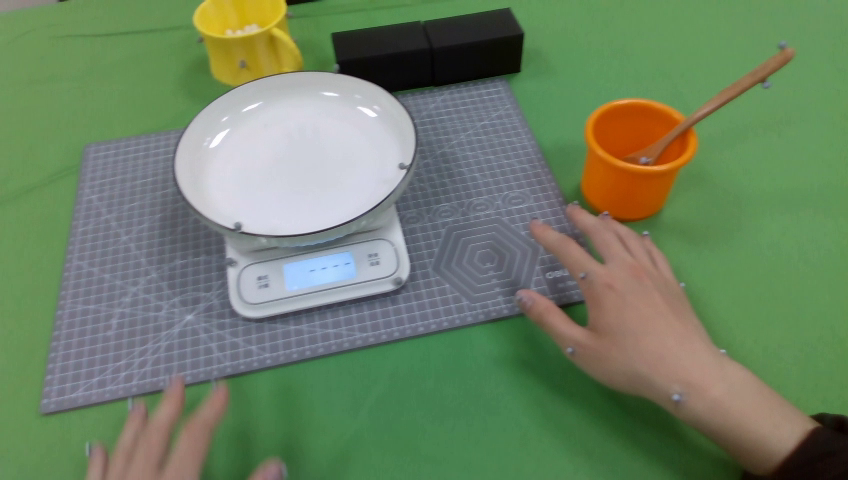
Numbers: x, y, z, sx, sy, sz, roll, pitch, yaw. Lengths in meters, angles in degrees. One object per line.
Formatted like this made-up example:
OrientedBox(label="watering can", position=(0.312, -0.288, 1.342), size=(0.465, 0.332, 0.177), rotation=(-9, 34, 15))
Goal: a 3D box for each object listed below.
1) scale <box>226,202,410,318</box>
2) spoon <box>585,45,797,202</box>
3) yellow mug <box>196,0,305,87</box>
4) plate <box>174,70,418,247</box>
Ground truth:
OrientedBox(label="scale", position=(-0.102, -0.030, 0.543), size=(0.149, 0.032, 0.198), rotation=(-11, 53, -6))
OrientedBox(label="spoon", position=(0.220, -0.095, 0.511), size=(0.022, 0.194, 0.041), rotation=(18, 43, -42))
OrientedBox(label="yellow mug", position=(-0.184, -0.222, 0.678), size=(0.130, 0.064, 0.099), rotation=(28, 58, 21))
OrientedBox(label="plate", position=(-0.109, -0.072, 0.534), size=(0.209, 0.038, 0.207), rotation=(0, 52, 1))
